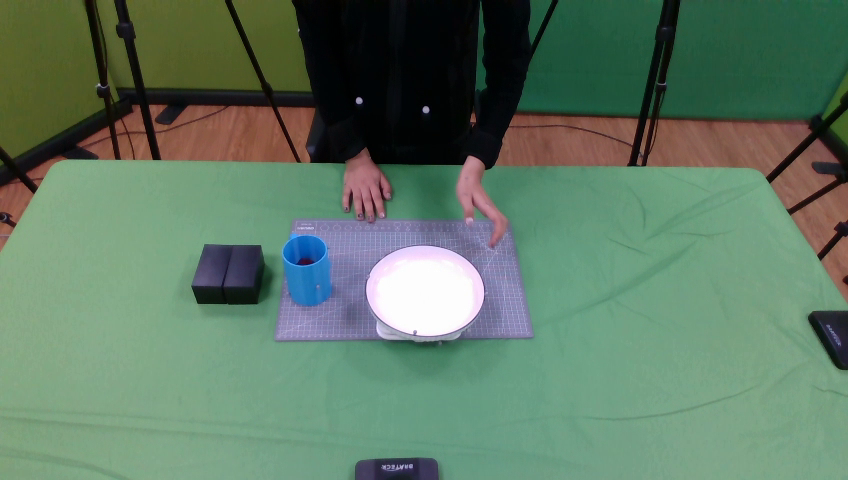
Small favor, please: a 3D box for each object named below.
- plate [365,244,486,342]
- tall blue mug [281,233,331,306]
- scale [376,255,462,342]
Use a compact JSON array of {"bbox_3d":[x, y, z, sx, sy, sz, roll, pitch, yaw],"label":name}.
[{"bbox_3d":[0.001,0.093,1.051,0.209,0.038,0.208,1,46,-1],"label":"plate"},{"bbox_3d":[-0.218,0.046,1.073,0.107,0.108,0.077,28,52,21],"label":"tall blue mug"},{"bbox_3d":[-0.010,0.096,1.094,0.149,0.032,0.199,2,46,-3],"label":"scale"}]
